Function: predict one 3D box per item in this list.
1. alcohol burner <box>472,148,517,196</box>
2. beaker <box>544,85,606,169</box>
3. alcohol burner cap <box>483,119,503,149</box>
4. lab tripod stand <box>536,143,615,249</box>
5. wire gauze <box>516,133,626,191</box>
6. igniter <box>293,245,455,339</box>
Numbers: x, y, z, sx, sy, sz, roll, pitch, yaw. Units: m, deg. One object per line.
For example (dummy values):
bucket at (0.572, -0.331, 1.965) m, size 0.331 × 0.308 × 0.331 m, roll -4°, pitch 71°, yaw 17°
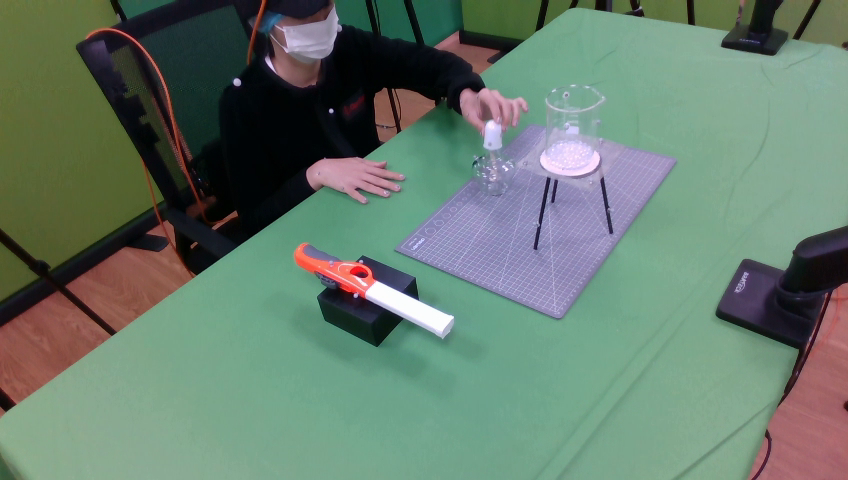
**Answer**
alcohol burner at (0.120, -0.136, 1.044) m, size 0.078 × 0.119 × 0.077 m, roll -6°, pitch 39°, yaw 6°
beaker at (0.212, -0.158, 0.861) m, size 0.084 × 0.101 × 0.073 m, roll -3°, pitch 41°, yaw 6°
alcohol burner cap at (0.116, -0.178, 1.011) m, size 0.034 × 0.048 × 0.033 m, roll -2°, pitch 33°, yaw 2°
lab tripod stand at (0.224, -0.069, 0.931) m, size 0.148 × 0.132 × 0.147 m, roll -4°, pitch 42°, yaw 4°
wire gauze at (0.217, -0.122, 0.893) m, size 0.124 × 0.011 × 0.122 m, roll 20°, pitch 47°, yaw 32°
igniter at (-0.079, 0.066, 0.834) m, size 0.274 × 0.025 × 0.057 m, roll 23°, pitch 48°, yaw 27°
